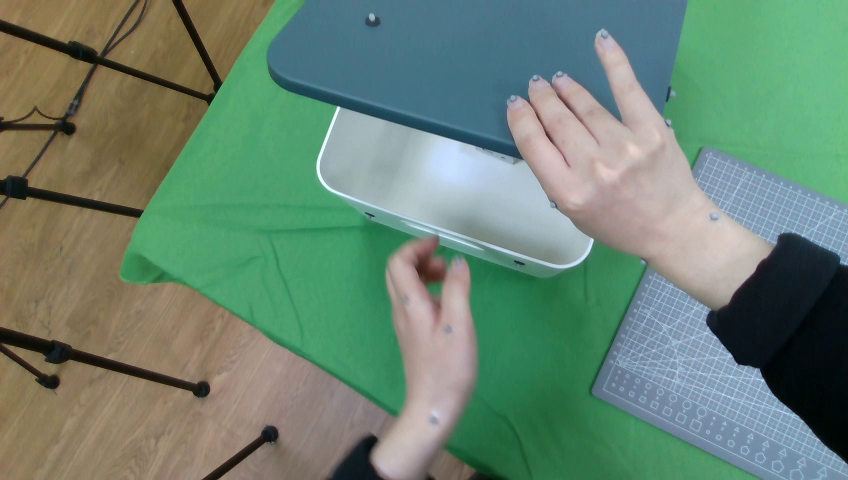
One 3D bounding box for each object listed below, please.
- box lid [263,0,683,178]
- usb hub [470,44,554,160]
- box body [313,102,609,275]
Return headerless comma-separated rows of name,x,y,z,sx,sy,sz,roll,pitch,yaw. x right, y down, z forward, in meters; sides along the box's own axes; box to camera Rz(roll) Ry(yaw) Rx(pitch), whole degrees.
box lid,0.068,-0.208,0.473,0.262,0.015,0.369,18,57,10
usb hub,0.099,-0.155,0.678,0.049,0.025,0.125,25,82,11
box body,0.079,-0.166,0.620,0.253,0.161,0.363,19,83,8
